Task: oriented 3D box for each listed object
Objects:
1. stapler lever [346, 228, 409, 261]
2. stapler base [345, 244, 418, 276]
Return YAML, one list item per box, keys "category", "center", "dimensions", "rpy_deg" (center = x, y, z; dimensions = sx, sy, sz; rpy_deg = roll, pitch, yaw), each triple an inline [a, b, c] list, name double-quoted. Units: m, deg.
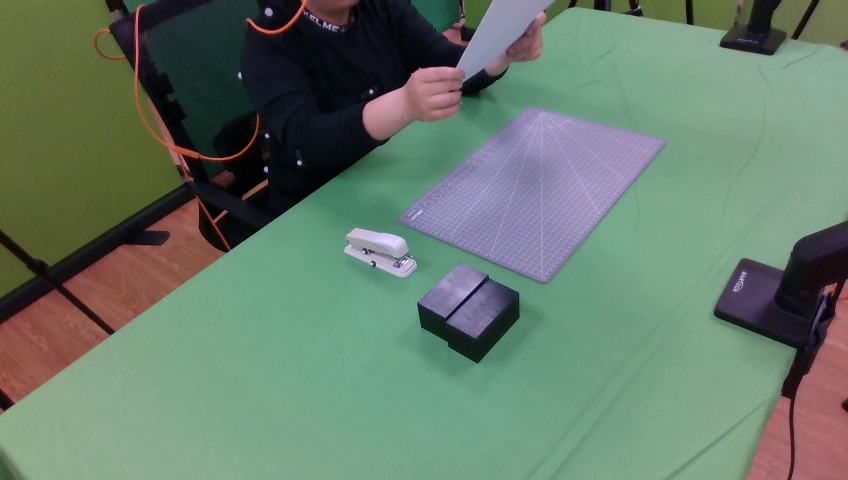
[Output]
- category: "stapler lever"
  center: [-0.074, 0.001, 0.949]
  dimensions: [0.117, 0.040, 0.027]
  rpy_deg: [20, 46, 30]
- category: "stapler base"
  center: [-0.070, 0.020, 0.964]
  dimensions: [0.129, 0.024, 0.041]
  rpy_deg: [19, 45, 31]
